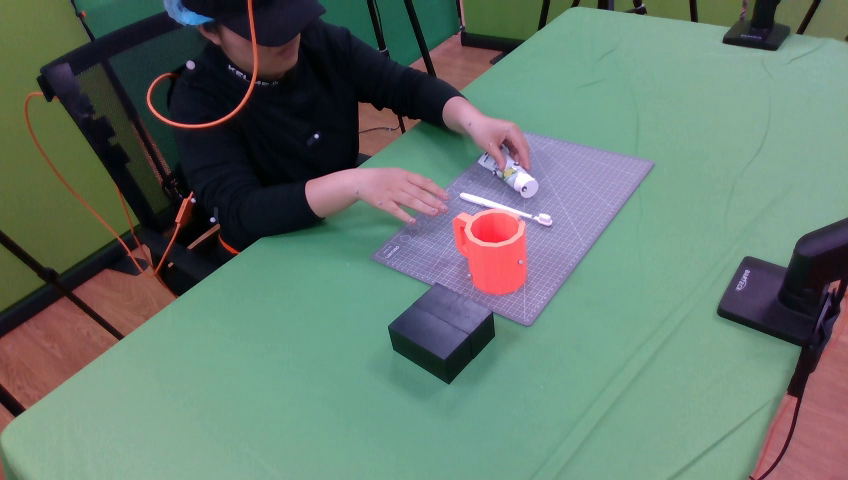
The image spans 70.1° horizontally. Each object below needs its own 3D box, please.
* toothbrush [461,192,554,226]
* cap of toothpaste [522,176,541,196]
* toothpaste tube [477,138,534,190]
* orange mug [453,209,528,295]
[{"bbox_3d":[0.137,-0.056,1.026,0.180,0.017,0.014,20,60,32],"label":"toothbrush"},{"bbox_3d":[0.180,-0.092,1.029,0.037,0.037,0.011,-21,39,-13],"label":"cap of toothpaste"},{"bbox_3d":[0.151,-0.133,1.088,0.055,0.035,0.163,-50,40,9],"label":"toothpaste tube"},{"bbox_3d":[0.094,0.009,0.894,0.125,0.101,0.084,32,55,33],"label":"orange mug"}]
